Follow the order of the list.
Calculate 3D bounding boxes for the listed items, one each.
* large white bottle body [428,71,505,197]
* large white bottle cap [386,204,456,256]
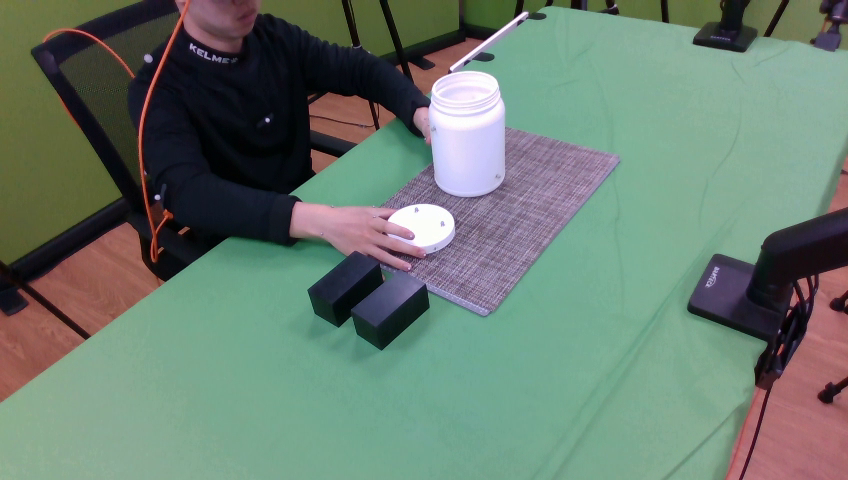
[{"bbox_3d":[0.075,-0.181,1.038,0.130,0.185,0.130,-4,41,4],"label":"large white bottle body"},{"bbox_3d":[-0.006,-0.018,0.987,0.115,0.018,0.114,-4,41,4],"label":"large white bottle cap"}]
